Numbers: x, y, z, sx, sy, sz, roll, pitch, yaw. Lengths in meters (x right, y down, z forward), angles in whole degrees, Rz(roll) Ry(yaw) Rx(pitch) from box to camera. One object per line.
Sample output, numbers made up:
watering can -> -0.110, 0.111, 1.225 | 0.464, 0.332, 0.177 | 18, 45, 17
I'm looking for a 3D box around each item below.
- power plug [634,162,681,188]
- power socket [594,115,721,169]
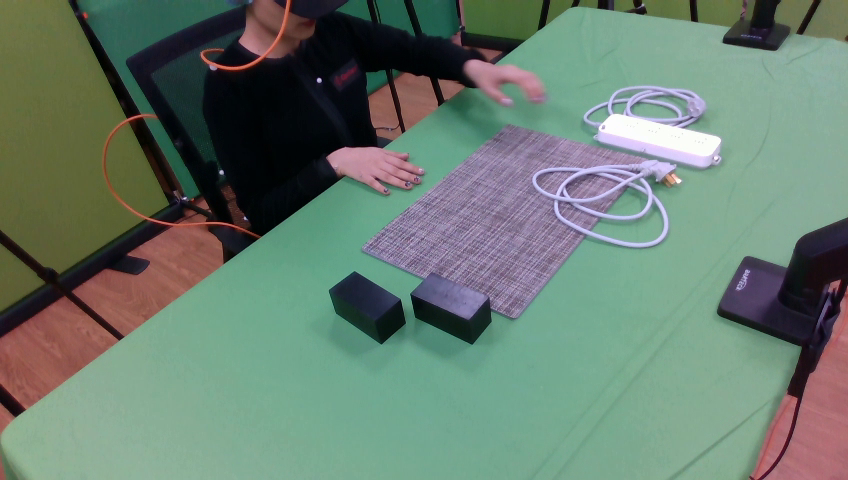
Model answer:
power plug -> 0.396, -0.102, 1.026 | 0.072, 0.035, 0.052 | -35, 69, -5
power socket -> 0.428, -0.183, 1.109 | 0.225, 0.033, 0.072 | 23, 49, 33
